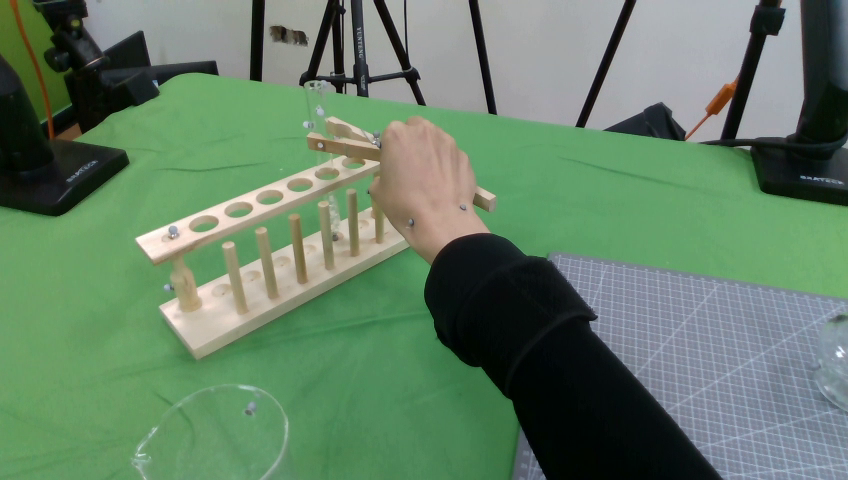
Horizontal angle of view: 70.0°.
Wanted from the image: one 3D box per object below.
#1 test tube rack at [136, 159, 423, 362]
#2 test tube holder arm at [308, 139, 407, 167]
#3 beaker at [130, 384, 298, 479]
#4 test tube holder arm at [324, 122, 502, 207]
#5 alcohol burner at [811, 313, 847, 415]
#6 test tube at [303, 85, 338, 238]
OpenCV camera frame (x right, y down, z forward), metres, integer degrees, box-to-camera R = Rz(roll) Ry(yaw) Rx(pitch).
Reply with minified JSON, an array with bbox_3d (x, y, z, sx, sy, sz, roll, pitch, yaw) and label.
[{"bbox_3d":[-0.112,0.002,0.538,0.242,0.086,0.066,-28,47,-32],"label":"test tube rack"},{"bbox_3d":[-0.055,-0.073,0.509,0.087,0.015,0.010,8,48,14],"label":"test tube holder arm"},{"bbox_3d":[-0.110,0.144,0.344,0.084,0.101,0.073,-5,38,-7],"label":"beaker"},{"bbox_3d":[-0.014,-0.064,0.496,0.177,0.015,0.013,24,55,26],"label":"test tube holder arm"},{"bbox_3d":[0.328,0.071,0.430,0.078,0.120,0.077,1,36,0],"label":"alcohol burner"},{"bbox_3d":[-0.092,-0.065,0.543,0.017,0.151,0.017,-1,36,1],"label":"test tube"}]
